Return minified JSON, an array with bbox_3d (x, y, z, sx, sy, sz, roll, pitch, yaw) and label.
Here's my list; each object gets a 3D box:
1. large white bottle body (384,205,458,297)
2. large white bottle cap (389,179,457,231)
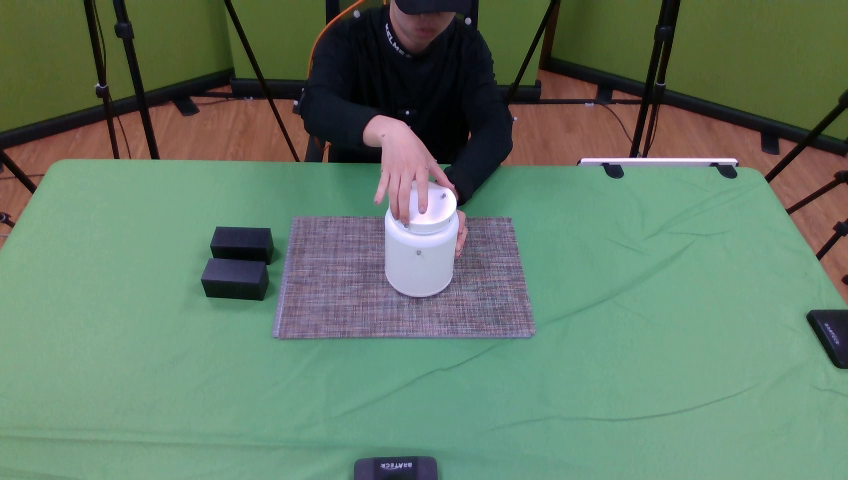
[{"bbox_3d":[-0.007,-0.002,1.081,0.131,0.185,0.130,2,46,-2],"label":"large white bottle body"},{"bbox_3d":[-0.002,-0.061,1.020,0.115,0.018,0.114,2,46,-2],"label":"large white bottle cap"}]
